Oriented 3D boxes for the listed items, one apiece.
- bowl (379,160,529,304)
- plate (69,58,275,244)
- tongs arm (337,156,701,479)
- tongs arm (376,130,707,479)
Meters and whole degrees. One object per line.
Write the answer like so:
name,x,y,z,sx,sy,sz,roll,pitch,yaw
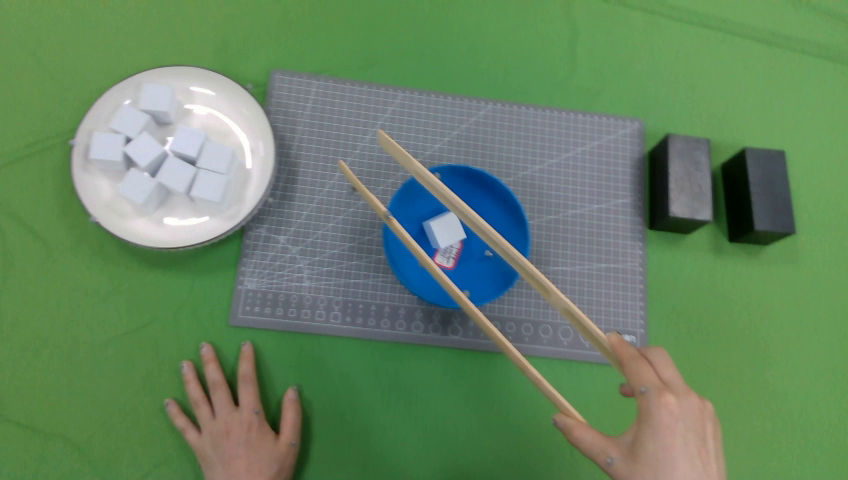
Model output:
bowl,0.027,0.000,0.635,0.152,0.077,0.150,2,75,-7
plate,-0.263,-0.093,0.648,0.208,0.039,0.206,2,75,-5
tongs arm,0.061,0.055,0.497,0.051,0.027,0.382,-35,72,-19
tongs arm,0.083,0.037,0.507,0.028,0.028,0.385,-37,72,-23
